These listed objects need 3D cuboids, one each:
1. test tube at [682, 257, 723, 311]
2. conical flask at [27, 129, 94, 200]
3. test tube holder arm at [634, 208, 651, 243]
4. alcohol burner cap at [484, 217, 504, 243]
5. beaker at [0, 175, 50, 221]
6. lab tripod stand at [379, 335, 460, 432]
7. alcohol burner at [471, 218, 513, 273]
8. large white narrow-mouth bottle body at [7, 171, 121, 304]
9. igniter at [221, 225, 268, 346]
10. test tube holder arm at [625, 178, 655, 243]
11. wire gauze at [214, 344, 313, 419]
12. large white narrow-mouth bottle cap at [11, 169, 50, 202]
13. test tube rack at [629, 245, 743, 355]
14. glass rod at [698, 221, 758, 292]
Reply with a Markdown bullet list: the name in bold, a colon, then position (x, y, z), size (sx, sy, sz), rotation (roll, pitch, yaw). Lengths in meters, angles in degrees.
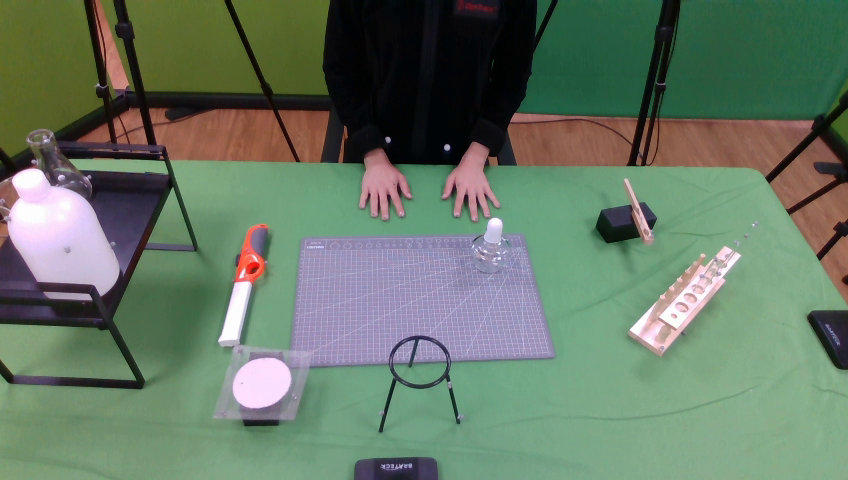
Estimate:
- **test tube**: position (0.475, 0.080, 1.037), size (0.017, 0.151, 0.017), rotation (1, 50, -1)
- **conical flask**: position (-0.575, -0.113, 0.946), size (0.075, 0.122, 0.075), rotation (2, 46, -2)
- **test tube holder arm**: position (0.428, -0.030, 1.189), size (0.010, 0.015, 0.087), rotation (1, 47, -2)
- **alcohol burner cap**: position (0.130, -0.021, 1.107), size (0.034, 0.048, 0.033), rotation (4, 40, -3)
- **beaker**: position (-0.569, -0.035, 0.886), size (0.074, 0.101, 0.083), rotation (-12, 48, -14)
- **lab tripod stand**: position (-0.011, 0.214, 0.911), size (0.148, 0.132, 0.147), rotation (1, 45, 0)
- **alcohol burner**: position (0.128, 0.005, 1.132), size (0.078, 0.120, 0.077), rotation (0, 47, 0)
- **large white narrow-mouth bottle body**: position (-0.482, -0.008, 0.800), size (0.102, 0.195, 0.101), rotation (2, 46, -2)
- **igniter**: position (-0.323, 0.072, 1.100), size (0.057, 0.025, 0.274), rotation (-6, 45, 5)
- **test tube holder arm**: position (0.433, -0.063, 1.220), size (0.013, 0.015, 0.177), rotation (1, 47, -3)
- **wire gauze**: position (-0.241, 0.213, 0.916), size (0.121, 0.011, 0.124), rotation (5, 46, 1)
- **large white narrow-mouth bottle cap**: position (-0.479, -0.066, 0.739), size (0.038, 0.024, 0.037), rotation (2, 46, -2)
- **test tube rack**: position (0.474, 0.095, 1.091), size (0.242, 0.085, 0.066), rotation (-34, 56, -31)
- **glass rod**: position (0.527, 0.035, 1.060), size (0.008, 0.200, 0.008), rotation (5, 49, -6)
